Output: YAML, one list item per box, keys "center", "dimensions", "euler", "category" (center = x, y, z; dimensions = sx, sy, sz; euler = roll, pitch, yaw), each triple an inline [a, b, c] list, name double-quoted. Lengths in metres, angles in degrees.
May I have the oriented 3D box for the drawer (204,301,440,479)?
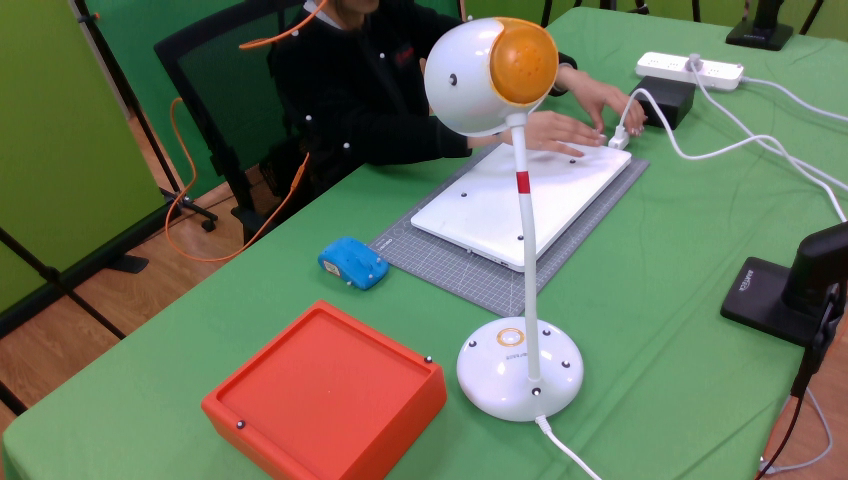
- center: [-0.119, 0.193, 0.735]
  dimensions: [0.210, 0.073, 0.195]
  euler: [23, 49, 32]
  category: "drawer"

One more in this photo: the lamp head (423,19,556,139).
- center: [0.068, -0.151, 0.563]
  dimensions: [0.113, 0.113, 0.122]
  euler: [-21, 18, -13]
  category: "lamp head"

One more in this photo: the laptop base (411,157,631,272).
- center: [0.175, -0.083, 1.055]
  dimensions: [0.233, 0.023, 0.355]
  euler: [21, 49, 36]
  category: "laptop base"

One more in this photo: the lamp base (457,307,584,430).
- center: [0.115, 0.108, 0.713]
  dimensions: [0.161, 0.181, 0.178]
  euler: [-16, 43, -8]
  category: "lamp base"

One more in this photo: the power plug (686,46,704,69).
- center: [0.565, -0.384, 1.248]
  dimensions: [0.035, 0.073, 0.052]
  euler: [23, 69, 15]
  category: "power plug"

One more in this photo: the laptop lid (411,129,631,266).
- center: [0.172, -0.093, 1.048]
  dimensions: [0.239, 0.013, 0.358]
  euler: [24, 50, 36]
  category: "laptop lid"

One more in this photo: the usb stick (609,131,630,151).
- center: [0.354, -0.175, 1.109]
  dimensions: [0.021, 0.027, 0.059]
  euler: [24, 52, 31]
  category: "usb stick"

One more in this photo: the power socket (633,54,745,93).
- center: [0.563, -0.358, 1.295]
  dimensions: [0.225, 0.033, 0.072]
  euler: [21, 50, 30]
  category: "power socket"

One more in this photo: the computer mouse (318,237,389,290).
- center: [-0.113, 0.033, 0.959]
  dimensions: [0.116, 0.041, 0.063]
  euler: [28, 50, 31]
  category: "computer mouse"

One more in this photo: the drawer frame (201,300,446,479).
- center: [-0.117, 0.193, 0.733]
  dimensions: [0.212, 0.083, 0.202]
  euler: [23, 48, 32]
  category: "drawer frame"
